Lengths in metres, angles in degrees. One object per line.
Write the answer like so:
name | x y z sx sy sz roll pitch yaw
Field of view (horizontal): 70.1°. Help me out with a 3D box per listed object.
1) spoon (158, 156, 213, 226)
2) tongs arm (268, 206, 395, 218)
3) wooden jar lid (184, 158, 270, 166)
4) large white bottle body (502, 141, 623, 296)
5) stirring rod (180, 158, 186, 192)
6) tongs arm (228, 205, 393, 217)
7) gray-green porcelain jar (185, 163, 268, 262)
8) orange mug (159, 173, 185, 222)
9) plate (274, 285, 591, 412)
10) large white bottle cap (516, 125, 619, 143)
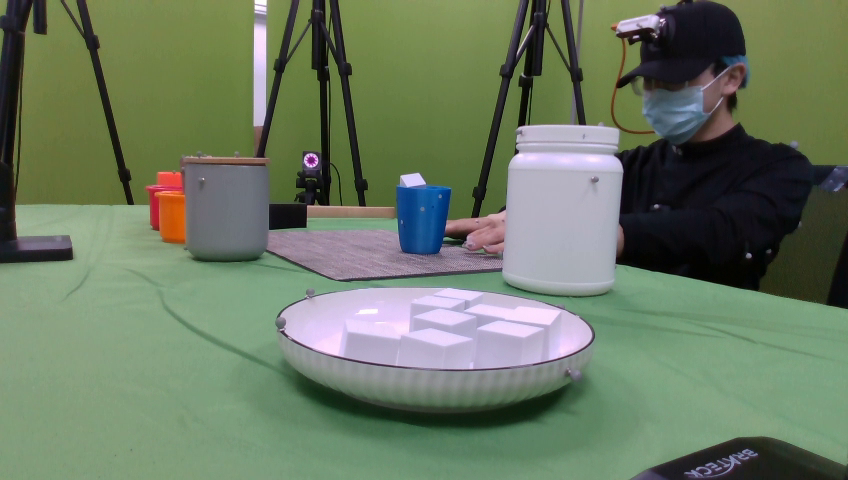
spoon | -0.434 -0.094 1.121 0.041 0.022 0.193 5 51 13
tongs arm | -0.230 -0.064 1.380 0.387 0.026 0.050 -1 2 -32
wooden jar lid | -0.260 -0.099 0.801 0.108 0.020 0.108 0 9 0
large white bottle body | 0.161 -0.037 0.706 0.131 0.184 0.130 3 7 0
stirring rod | -0.380 -0.071 0.980 0.014 0.006 0.175 -5 52 -25
tongs arm | -0.267 -0.069 1.454 0.389 0.027 0.028 0 -2 -18
gray-green porcelain jar | -0.263 -0.038 0.809 0.106 0.126 0.106 3 8 0
orange mug | -0.477 -0.089 1.241 0.127 0.101 0.083 -7 11 -33
plate | 0.005 0.069 0.408 0.208 0.039 0.207 2 7 0
large white bottle cap | 0.164 -0.120 0.695 0.115 0.018 0.115 2 8 0
